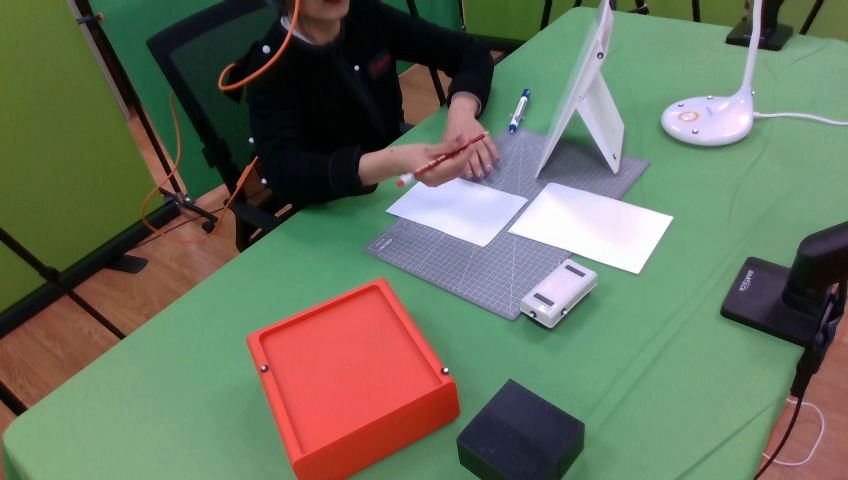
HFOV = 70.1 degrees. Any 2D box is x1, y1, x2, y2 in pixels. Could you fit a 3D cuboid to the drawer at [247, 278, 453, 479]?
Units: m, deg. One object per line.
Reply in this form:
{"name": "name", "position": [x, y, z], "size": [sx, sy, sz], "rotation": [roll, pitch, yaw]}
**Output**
{"name": "drawer", "position": [-0.096, 0.166, 0.757], "size": [0.195, 0.073, 0.210], "rotation": [-22, 42, -16]}

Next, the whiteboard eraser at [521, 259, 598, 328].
{"name": "whiteboard eraser", "position": [0.189, 0.076, 0.843], "size": [0.055, 0.042, 0.113], "rotation": [29, 53, 37]}

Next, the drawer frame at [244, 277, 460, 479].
{"name": "drawer frame", "position": [-0.093, 0.167, 0.755], "size": [0.202, 0.083, 0.211], "rotation": [-23, 43, -17]}

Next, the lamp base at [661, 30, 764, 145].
{"name": "lamp base", "position": [0.535, -0.287, 1.096], "size": [0.179, 0.181, 0.159], "rotation": [-10, 40, -4]}

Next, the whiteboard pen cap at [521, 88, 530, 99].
{"name": "whiteboard pen cap", "position": [0.218, -0.312, 1.301], "size": [0.018, 0.018, 0.033], "rotation": [6, 46, 18]}

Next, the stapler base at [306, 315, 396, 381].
{"name": "stapler base", "position": [-0.101, 0.138, 0.819], "size": [0.131, 0.024, 0.041], "rotation": [-31, 37, -13]}

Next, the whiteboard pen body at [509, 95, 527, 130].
{"name": "whiteboard pen body", "position": [0.199, -0.273, 1.261], "size": [0.017, 0.017, 0.140], "rotation": [8, 44, 19]}

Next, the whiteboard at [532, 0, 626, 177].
{"name": "whiteboard", "position": [0.321, -0.258, 1.050], "size": [0.144, 0.306, 0.217], "rotation": [21, 45, 5]}

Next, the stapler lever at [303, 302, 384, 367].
{"name": "stapler lever", "position": [-0.108, 0.123, 0.805], "size": [0.118, 0.040, 0.026], "rotation": [-27, 36, -15]}

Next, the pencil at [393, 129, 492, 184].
{"name": "pencil", "position": [0.032, -0.131, 0.926], "size": [0.195, 0.012, 0.012], "rotation": [-30, 45, -24]}
